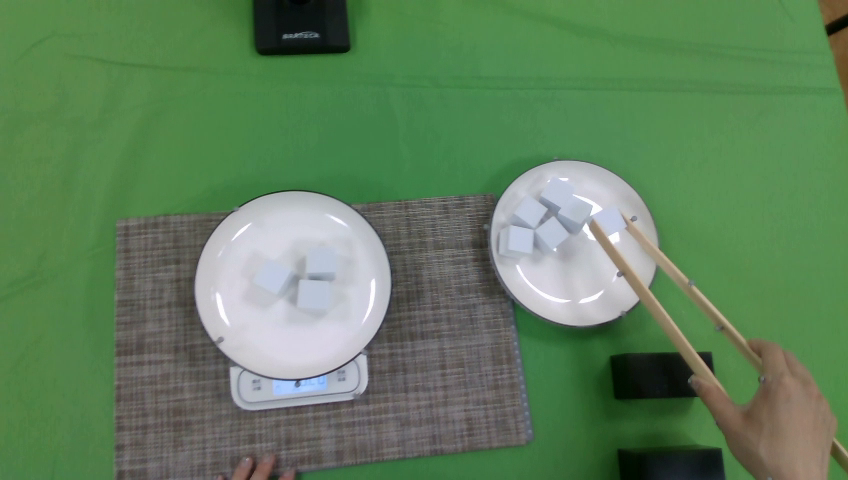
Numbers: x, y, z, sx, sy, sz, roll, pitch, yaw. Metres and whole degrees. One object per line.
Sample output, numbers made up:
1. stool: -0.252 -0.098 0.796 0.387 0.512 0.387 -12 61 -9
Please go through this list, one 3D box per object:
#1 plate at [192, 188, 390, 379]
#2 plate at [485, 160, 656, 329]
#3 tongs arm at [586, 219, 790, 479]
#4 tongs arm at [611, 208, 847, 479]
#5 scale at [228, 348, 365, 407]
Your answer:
1. plate: -0.141 0.046 0.661 0.209 0.038 0.208 2 76 -6
2. plate: 0.174 0.006 0.737 0.208 0.039 0.206 1 76 -5
3. tongs arm: 0.275 0.125 0.599 0.028 0.028 0.383 -24 60 -13
4. tongs arm: 0.296 0.115 0.602 0.051 0.027 0.381 -30 61 -12
5. scale: -0.146 0.082 0.686 0.149 0.031 0.200 -4 77 -7
